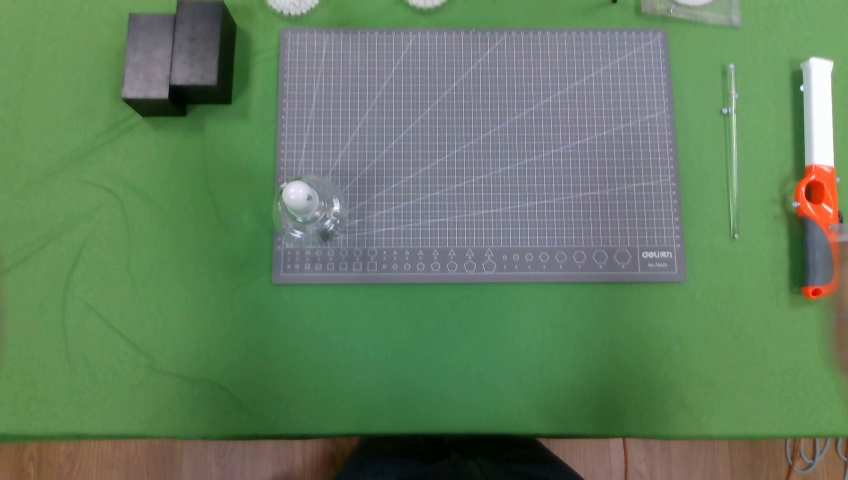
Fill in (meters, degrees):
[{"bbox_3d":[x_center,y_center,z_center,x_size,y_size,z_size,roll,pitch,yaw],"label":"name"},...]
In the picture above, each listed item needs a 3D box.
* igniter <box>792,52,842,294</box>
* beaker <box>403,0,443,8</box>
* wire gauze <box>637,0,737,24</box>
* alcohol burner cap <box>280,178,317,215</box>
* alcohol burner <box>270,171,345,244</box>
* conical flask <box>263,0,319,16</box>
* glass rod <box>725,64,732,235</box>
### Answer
[{"bbox_3d":[0.436,-0.076,0.673,0.057,0.025,0.275,7,81,-10],"label":"igniter"},{"bbox_3d":[0.001,-0.315,0.671,0.084,0.100,0.074,-38,83,-7],"label":"beaker"},{"bbox_3d":[0.315,-0.322,0.722,0.125,0.011,0.121,6,81,-2],"label":"wire gauze"},{"bbox_3d":[-0.121,-0.044,0.577,0.034,0.048,0.034,0,84,-4],"label":"alcohol burner cap"},{"bbox_3d":[-0.121,-0.037,0.612,0.078,0.119,0.077,0,79,2],"label":"alcohol burner"},{"bbox_3d":[-0.154,-0.306,0.655,0.075,0.122,0.075,0,80,0],"label":"conical flask"},{"bbox_3d":[0.346,-0.104,0.687,0.008,0.008,0.199,4,83,0],"label":"glass rod"}]
